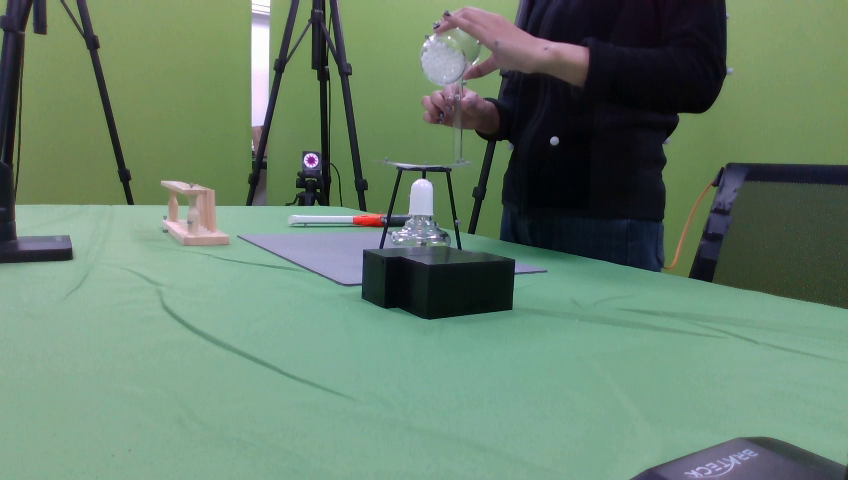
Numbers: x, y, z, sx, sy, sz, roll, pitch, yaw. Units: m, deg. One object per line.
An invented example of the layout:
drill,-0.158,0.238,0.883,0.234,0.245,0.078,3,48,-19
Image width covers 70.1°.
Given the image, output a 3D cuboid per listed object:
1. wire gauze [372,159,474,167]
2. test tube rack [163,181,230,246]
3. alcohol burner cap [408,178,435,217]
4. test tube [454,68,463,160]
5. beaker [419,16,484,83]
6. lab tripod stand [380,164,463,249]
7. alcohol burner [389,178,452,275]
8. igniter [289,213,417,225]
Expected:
wire gauze,-0.004,-0.122,0.959,0.122,0.011,0.124,-4,9,-33
test tube rack,-0.387,-0.050,1.016,0.067,0.085,0.241,-2,9,-30
alcohol burner cap,-0.002,-0.053,0.746,0.034,0.048,0.034,2,3,0
test tube,0.056,-0.202,0.980,0.017,0.150,0.017,-1,29,1
beaker,0.039,-0.275,0.886,0.074,0.084,0.100,12,35,15
lab tripod stand,-0.003,-0.055,0.967,0.148,0.131,0.148,2,9,0
alcohol burner,-0.004,-0.017,0.749,0.078,0.119,0.078,1,9,0
igniter,-0.144,-0.044,1.275,0.278,0.025,0.057,-1,-2,-27
